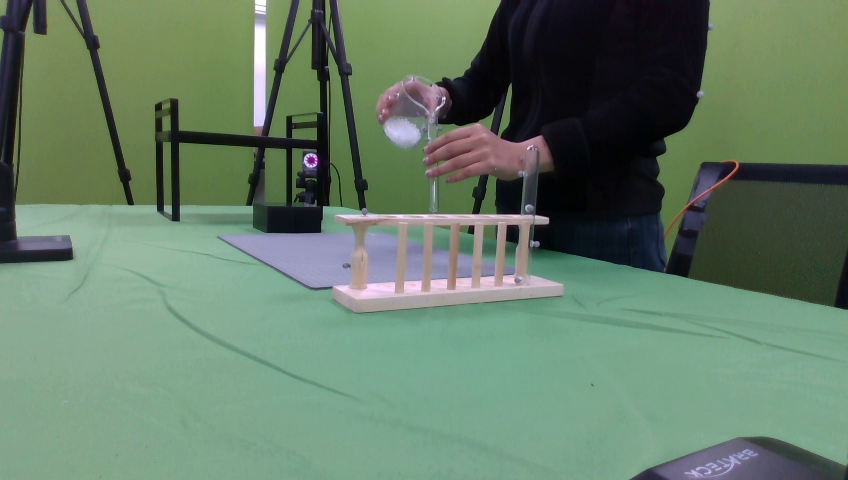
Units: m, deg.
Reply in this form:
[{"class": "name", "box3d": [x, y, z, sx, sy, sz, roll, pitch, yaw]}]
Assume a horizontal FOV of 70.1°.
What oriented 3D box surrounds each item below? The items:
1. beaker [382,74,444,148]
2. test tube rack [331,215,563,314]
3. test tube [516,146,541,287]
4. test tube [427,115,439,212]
[{"class": "beaker", "box3d": [-0.020, -0.203, 0.980, 0.074, 0.083, 0.100, -4, -32, -32]}, {"class": "test tube rack", "box3d": [0.031, 0.019, 0.625, 0.243, 0.085, 0.066, -1, 8, -28]}, {"class": "test tube", "box3d": [0.110, -0.024, 0.638, 0.017, 0.150, 0.017, 3, 6, 0]}, {"class": "test tube", "box3d": [0.014, -0.117, 0.918, 0.017, 0.150, 0.017, -1, -7, 0]}]
